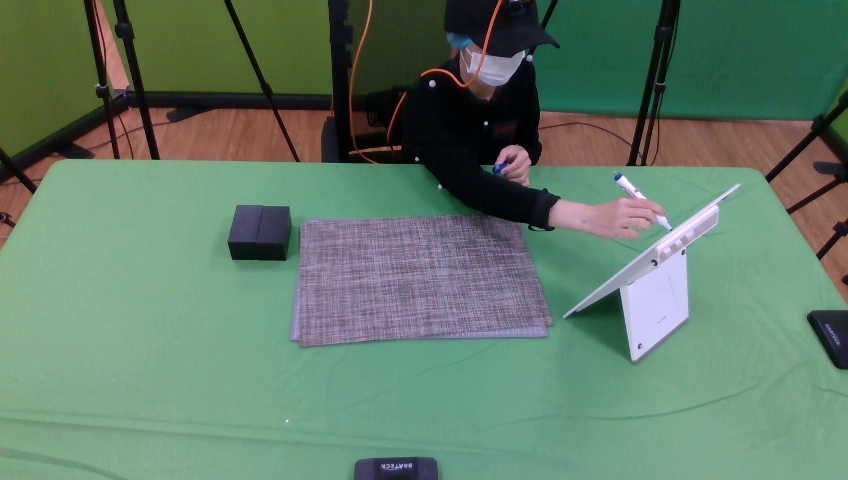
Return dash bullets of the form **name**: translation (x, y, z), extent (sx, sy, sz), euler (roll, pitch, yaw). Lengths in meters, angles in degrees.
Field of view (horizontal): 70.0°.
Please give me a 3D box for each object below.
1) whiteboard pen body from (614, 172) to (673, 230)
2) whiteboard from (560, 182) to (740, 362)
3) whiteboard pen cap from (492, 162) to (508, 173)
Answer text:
- **whiteboard pen body**: translation (0.380, -0.065, 1.041), extent (0.141, 0.017, 0.017), euler (43, 51, -5)
- **whiteboard**: translation (0.406, 0.075, 1.001), extent (0.217, 0.306, 0.143), euler (-28, 73, -28)
- **whiteboard pen cap**: translation (0.162, -0.156, 1.303), extent (0.033, 0.018, 0.018), euler (-19, 50, -14)
